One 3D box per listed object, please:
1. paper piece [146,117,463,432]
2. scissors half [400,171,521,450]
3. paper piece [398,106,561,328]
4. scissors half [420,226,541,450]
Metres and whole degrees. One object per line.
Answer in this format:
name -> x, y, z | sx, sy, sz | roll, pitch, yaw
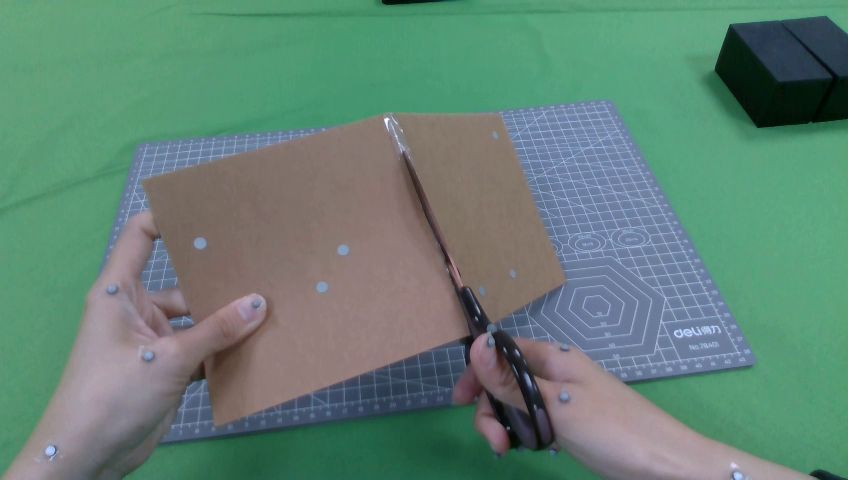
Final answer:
paper piece -> -0.060, 0.013, 0.323 | 0.136, 0.004, 0.135 | -18, 85, -15
scissors half -> 0.017, 0.034, 0.339 | 0.013, 0.040, 0.175 | -23, 86, -10
paper piece -> 0.042, -0.021, 0.392 | 0.008, 0.136, 0.138 | -15, 1, 35
scissors half -> 0.016, 0.026, 0.318 | 0.013, 0.040, 0.173 | -24, 58, -5
